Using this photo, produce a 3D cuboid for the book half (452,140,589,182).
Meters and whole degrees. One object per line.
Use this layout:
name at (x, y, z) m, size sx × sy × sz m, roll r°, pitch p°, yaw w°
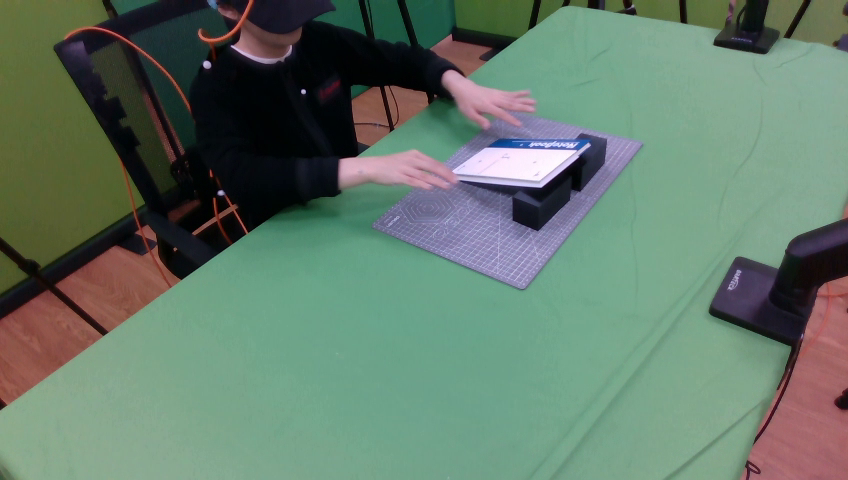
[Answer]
book half at (0.166, -0.143, 1.065) m, size 0.144 × 0.007 × 0.208 m, roll -37°, pitch 30°, yaw -30°
